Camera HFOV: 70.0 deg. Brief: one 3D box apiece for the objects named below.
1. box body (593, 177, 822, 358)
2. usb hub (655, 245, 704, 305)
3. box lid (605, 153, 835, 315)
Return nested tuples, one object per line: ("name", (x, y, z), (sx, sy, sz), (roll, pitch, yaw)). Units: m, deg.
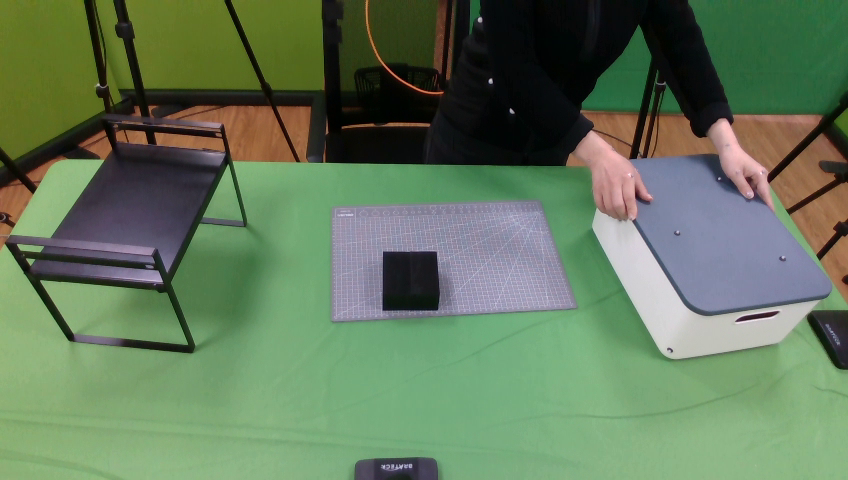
("box body", (0.496, 0.023, 1.112), (0.254, 0.161, 0.361), (-7, 47, -10))
("usb hub", (0.481, 0.065, 1.148), (0.049, 0.025, 0.124), (-1, 52, -8))
("box lid", (0.499, -0.029, 1.061), (0.264, 0.015, 0.369), (-6, 47, -10))
